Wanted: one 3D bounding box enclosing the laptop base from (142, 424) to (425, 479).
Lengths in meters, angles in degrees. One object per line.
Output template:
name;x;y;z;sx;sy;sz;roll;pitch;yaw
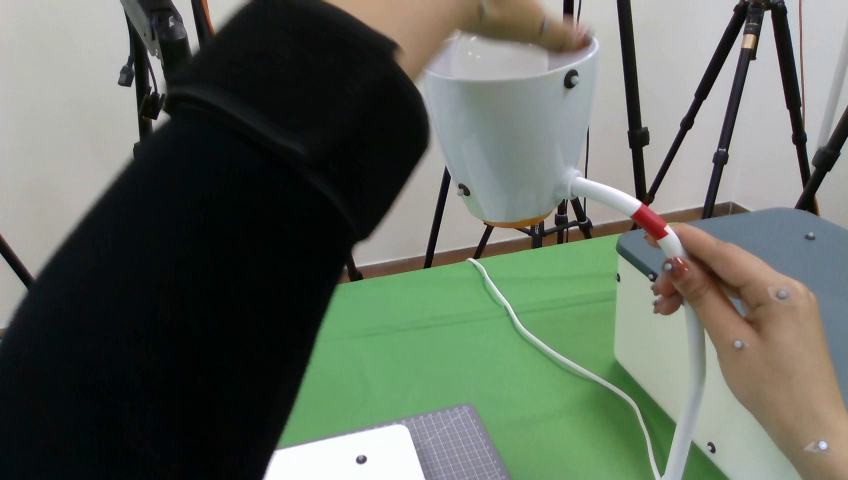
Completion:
laptop base;-0.158;0.272;0.494;0.355;0.023;0.233;-9;30;-13

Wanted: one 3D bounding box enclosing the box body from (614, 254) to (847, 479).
box body;0.383;0.122;0.592;0.255;0.161;0.360;-10;27;-15

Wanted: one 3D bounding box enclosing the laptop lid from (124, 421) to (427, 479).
laptop lid;-0.158;0.262;0.487;0.357;0.013;0.239;-8;29;-11

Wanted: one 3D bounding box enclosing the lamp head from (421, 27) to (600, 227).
lamp head;0.063;-0.070;0.405;0.112;0.124;0.111;-10;29;6

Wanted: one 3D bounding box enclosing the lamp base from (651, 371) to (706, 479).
lamp base;0.171;0.195;0.438;0.160;0.181;0.179;9;26;20

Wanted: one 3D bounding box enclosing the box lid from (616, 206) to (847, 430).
box lid;0.380;0.055;0.560;0.264;0.015;0.367;-9;27;-15

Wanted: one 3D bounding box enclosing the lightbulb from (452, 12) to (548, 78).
lightbulb;0.051;-0.091;0.391;0.059;0.109;0.059;-8;37;7
